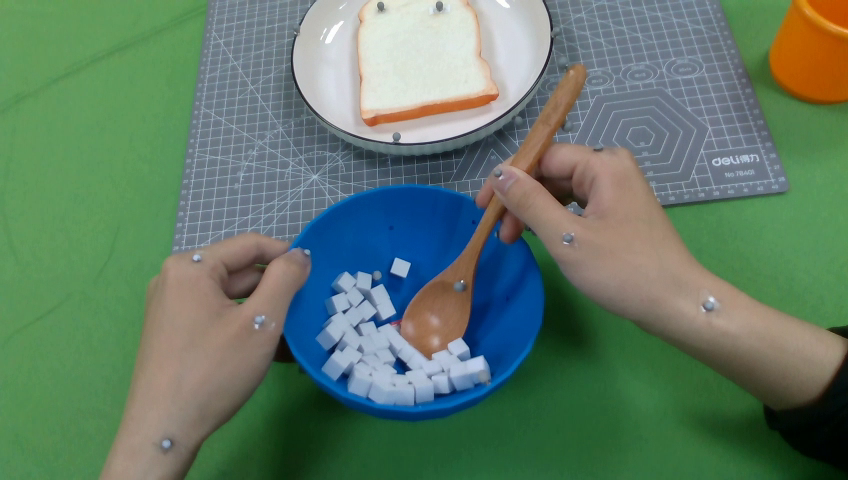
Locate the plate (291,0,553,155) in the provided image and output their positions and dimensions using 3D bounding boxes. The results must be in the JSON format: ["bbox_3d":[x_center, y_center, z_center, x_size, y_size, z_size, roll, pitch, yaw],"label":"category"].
[{"bbox_3d":[-0.003,-0.152,0.493,0.209,0.038,0.207,-3,64,7],"label":"plate"}]

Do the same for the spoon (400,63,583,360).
[{"bbox_3d":[0.037,-0.009,0.344,0.041,0.022,0.194,38,117,23],"label":"spoon"}]

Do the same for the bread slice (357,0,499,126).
[{"bbox_3d":[-0.006,-0.155,0.498,0.107,0.018,0.133,-13,64,3],"label":"bread slice"}]

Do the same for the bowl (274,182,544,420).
[{"bbox_3d":[-0.009,0.046,0.368,0.151,0.077,0.150,2,53,-3],"label":"bowl"}]
